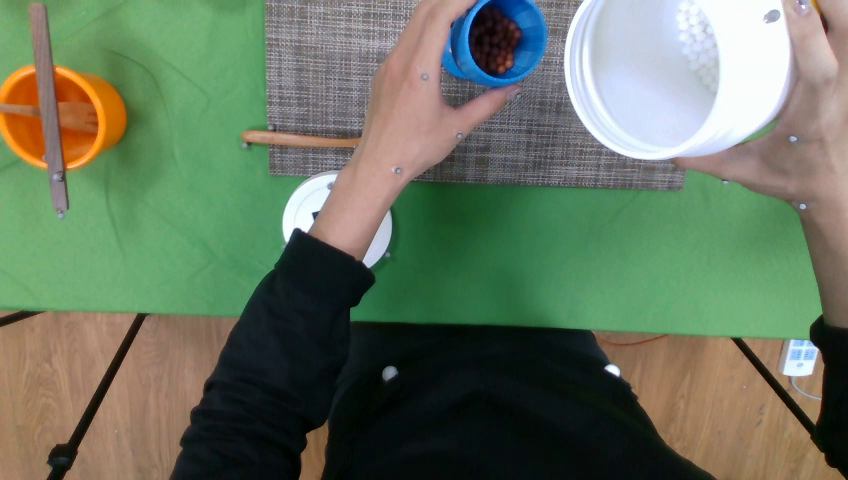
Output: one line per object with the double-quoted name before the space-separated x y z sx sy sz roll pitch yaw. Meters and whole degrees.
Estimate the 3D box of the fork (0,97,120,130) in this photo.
"fork" -0.369 -0.119 0.517 0.208 0.018 0.028 -1 120 -51

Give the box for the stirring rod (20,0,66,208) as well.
"stirring rod" -0.326 -0.114 0.520 0.014 0.006 0.177 1 107 -5

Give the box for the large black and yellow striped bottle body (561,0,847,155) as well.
"large black and yellow striped bottle body" 0.190 -0.135 0.397 0.184 0.130 0.131 -27 110 -31

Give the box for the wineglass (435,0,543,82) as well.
"wineglass" 0.050 -0.175 0.526 0.074 0.171 0.074 -2 106 -5

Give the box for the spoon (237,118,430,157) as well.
"spoon" -0.091 -0.106 0.612 0.194 0.021 0.042 1 127 -6

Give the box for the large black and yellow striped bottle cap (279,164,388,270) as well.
"large black and yellow striped bottle cap" -0.095 -0.023 0.643 0.115 0.018 0.115 -2 111 -6
